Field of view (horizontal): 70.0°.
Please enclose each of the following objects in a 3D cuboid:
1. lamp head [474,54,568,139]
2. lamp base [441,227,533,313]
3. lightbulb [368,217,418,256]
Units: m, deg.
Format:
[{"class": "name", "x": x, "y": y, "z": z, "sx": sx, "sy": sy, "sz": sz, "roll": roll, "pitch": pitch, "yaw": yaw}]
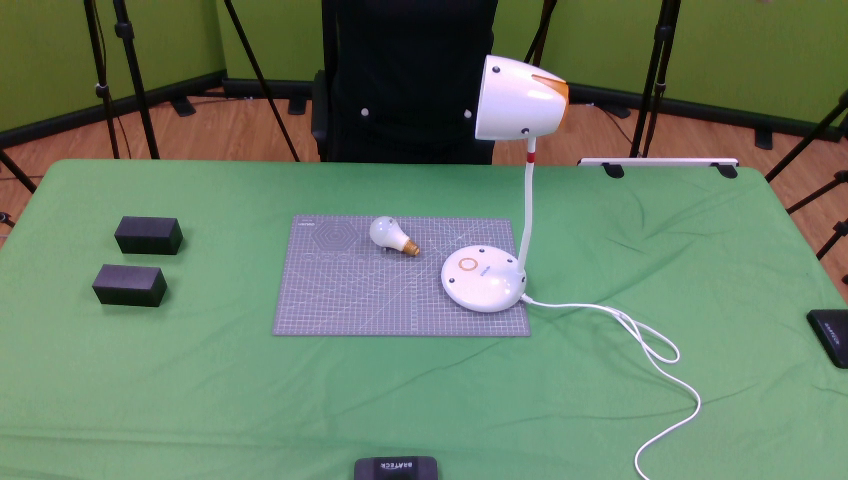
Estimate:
[{"class": "lamp head", "x": 0.130, "y": -0.184, "z": 0.817, "sx": 0.123, "sy": 0.113, "sz": 0.112, "roll": 10, "pitch": 45, "yaw": -3}, {"class": "lamp base", "x": 0.126, "y": 0.021, "z": 1.072, "sx": 0.179, "sy": 0.181, "sz": 0.160, "roll": 23, "pitch": 49, "yaw": 14}, {"class": "lightbulb", "x": -0.058, "y": -0.002, "z": 1.173, "sx": 0.107, "sy": 0.060, "sz": 0.059, "roll": 32, "pitch": 50, "yaw": 4}]
